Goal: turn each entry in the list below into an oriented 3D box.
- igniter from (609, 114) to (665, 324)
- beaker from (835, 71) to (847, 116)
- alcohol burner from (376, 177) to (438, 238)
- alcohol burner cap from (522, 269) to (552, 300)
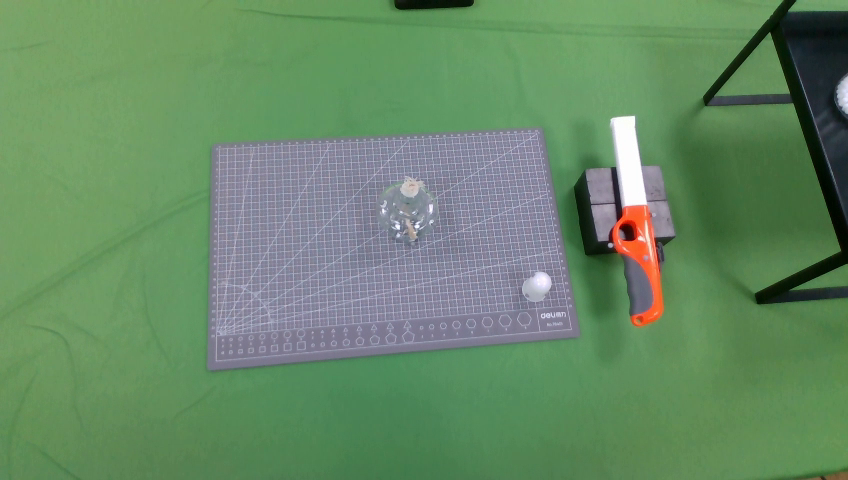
[{"bbox_3d":[0.260,-0.032,0.750,0.057,0.025,0.274,-3,70,7],"label":"igniter"},{"bbox_3d":[0.495,-0.174,0.638,0.084,0.101,0.073,-17,72,-9],"label":"beaker"},{"bbox_3d":[-0.019,-0.047,0.735,0.078,0.119,0.077,2,70,-5],"label":"alcohol burner"},{"bbox_3d":[0.142,0.053,0.750,0.034,0.048,0.033,1,70,-3],"label":"alcohol burner cap"}]
